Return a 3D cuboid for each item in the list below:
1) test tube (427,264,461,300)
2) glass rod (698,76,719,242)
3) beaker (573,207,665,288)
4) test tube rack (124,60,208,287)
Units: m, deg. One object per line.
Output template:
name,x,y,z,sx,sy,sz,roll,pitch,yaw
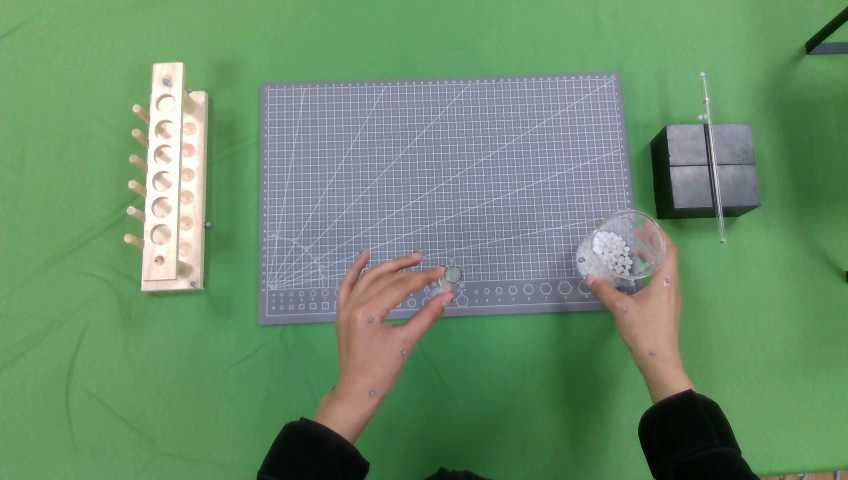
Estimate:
test tube,0.016,0.042,0.567,0.017,0.150,0.017,1,78,-5
glass rod,0.327,-0.095,0.695,0.008,0.008,0.199,0,79,-1
beaker,0.208,0.013,0.671,0.084,0.100,0.073,0,77,0
test tube rack,-0.295,-0.072,0.686,0.067,0.085,0.241,-2,79,-1
